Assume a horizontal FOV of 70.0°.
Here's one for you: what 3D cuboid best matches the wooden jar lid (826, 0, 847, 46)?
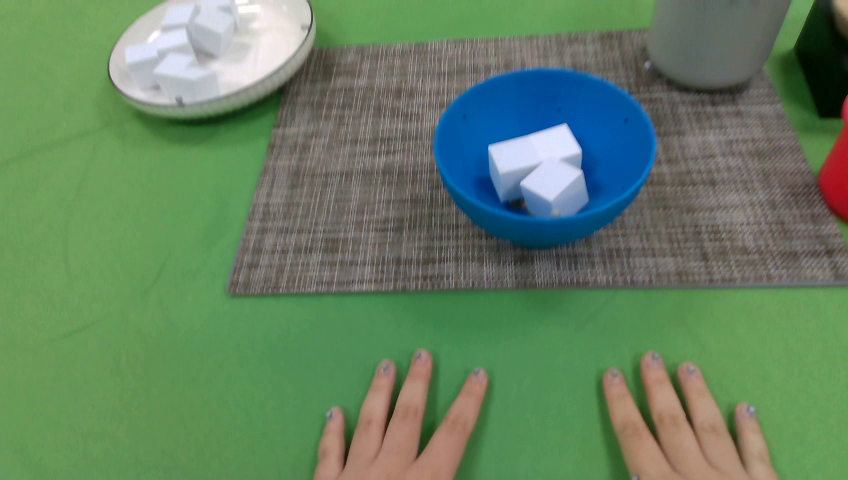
[{"bbox_3d":[0.388,-0.180,0.496,0.108,0.021,0.107,-4,52,5],"label":"wooden jar lid"}]

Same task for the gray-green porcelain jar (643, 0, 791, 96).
[{"bbox_3d":[0.249,-0.197,0.516,0.106,0.128,0.105,-3,52,5],"label":"gray-green porcelain jar"}]

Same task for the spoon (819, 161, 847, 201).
[{"bbox_3d":[0.367,-0.065,0.393,0.022,0.193,0.041,38,53,-22],"label":"spoon"}]

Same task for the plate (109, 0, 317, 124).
[{"bbox_3d":[-0.209,-0.186,0.619,0.209,0.038,0.207,-4,52,5],"label":"plate"}]

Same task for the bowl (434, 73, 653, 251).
[{"bbox_3d":[0.084,-0.045,0.447,0.151,0.077,0.150,-3,52,4],"label":"bowl"}]
